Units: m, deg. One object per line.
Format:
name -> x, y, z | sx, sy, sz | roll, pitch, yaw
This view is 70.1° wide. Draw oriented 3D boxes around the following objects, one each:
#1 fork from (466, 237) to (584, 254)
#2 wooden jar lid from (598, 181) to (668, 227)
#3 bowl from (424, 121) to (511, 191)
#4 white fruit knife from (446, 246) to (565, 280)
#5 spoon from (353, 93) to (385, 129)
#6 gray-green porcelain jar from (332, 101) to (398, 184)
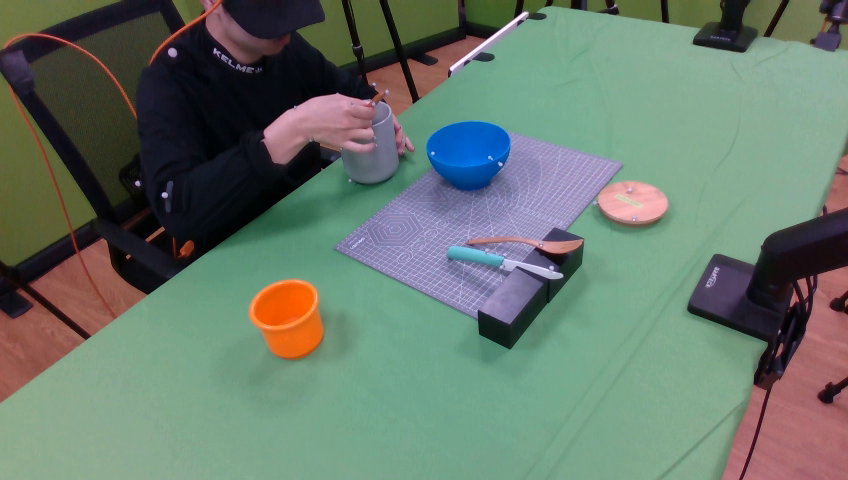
fork -> 0.142, 0.005, 0.894 | 0.205, 0.019, 0.028 | 4, 43, 41
wooden jar lid -> 0.340, -0.057, 0.988 | 0.108, 0.021, 0.108 | -5, 41, 5
bowl -> 0.080, -0.140, 1.074 | 0.151, 0.077, 0.150 | -4, 40, 4
white fruit knife -> 0.111, 0.033, 0.868 | 0.205, 0.027, 0.016 | 11, 44, 40
spoon -> -0.100, -0.214, 1.041 | 0.042, 0.193, 0.021 | -15, 82, -21
gray-green porcelain jar -> -0.105, -0.174, 1.108 | 0.106, 0.127, 0.105 | -4, 40, 4
